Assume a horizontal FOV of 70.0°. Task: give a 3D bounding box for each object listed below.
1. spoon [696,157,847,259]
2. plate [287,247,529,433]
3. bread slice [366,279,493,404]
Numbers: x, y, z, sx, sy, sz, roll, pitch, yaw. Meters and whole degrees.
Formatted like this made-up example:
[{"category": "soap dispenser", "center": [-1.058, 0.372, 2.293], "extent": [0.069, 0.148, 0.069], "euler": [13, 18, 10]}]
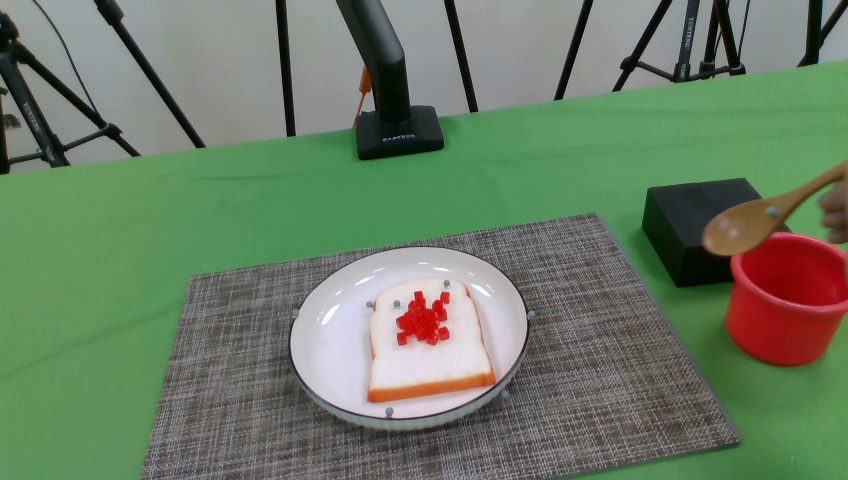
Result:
[{"category": "spoon", "center": [0.250, -0.035, 0.378], "extent": [0.022, 0.194, 0.041], "euler": [21, 59, -13]}, {"category": "plate", "center": [-0.014, 0.084, 0.534], "extent": [0.209, 0.038, 0.207], "euler": [-4, 38, 3]}, {"category": "bread slice", "center": [-0.002, 0.083, 0.537], "extent": [0.105, 0.019, 0.130], "euler": [-7, 39, -2]}]
